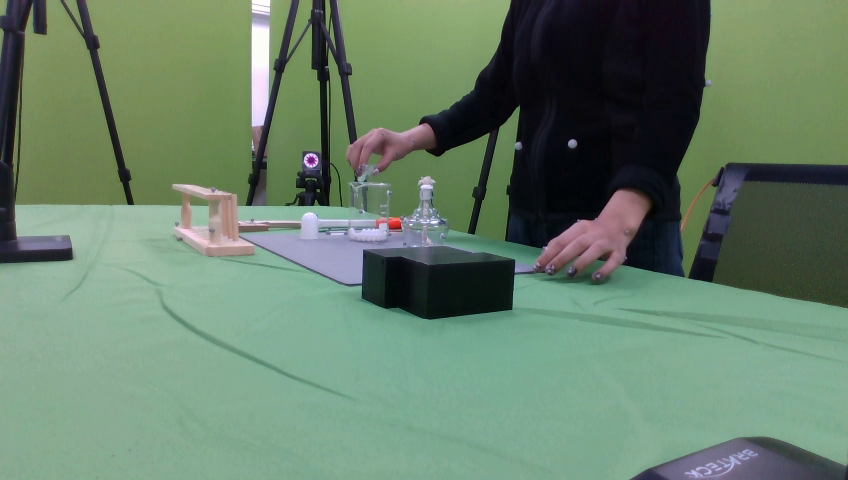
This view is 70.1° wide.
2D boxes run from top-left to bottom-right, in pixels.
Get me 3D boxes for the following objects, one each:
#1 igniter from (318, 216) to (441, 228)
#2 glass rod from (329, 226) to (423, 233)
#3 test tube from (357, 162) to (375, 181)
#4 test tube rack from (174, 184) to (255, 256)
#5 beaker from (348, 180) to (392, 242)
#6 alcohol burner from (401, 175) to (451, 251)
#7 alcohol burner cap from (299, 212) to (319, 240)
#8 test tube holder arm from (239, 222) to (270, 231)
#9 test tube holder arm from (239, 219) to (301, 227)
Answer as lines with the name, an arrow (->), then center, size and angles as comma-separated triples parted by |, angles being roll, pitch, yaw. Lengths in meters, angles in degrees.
igniter -> -0.090, -0.035, 1.223 | 0.278, 0.025, 0.057 | -2, -2, -31
glass rod -> -0.087, -0.020, 1.148 | 0.201, 0.008, 0.008 | -3, 9, -32
test tube -> -0.108, -0.124, 1.111 | 0.017, 0.017, 0.150 | 0, -1, -13
test tube rack -> -0.327, -0.036, 0.928 | 0.067, 0.085, 0.241 | -2, 9, -32
beaker -> -0.095, -0.049, 1.027 | 0.074, 0.100, 0.084 | 5, 9, 25
alcohol burner -> 0.003, -0.042, 0.947 | 0.078, 0.119, 0.078 | 1, 9, 0
alcohol burner cap -> -0.195, -0.025, 1.025 | 0.034, 0.048, 0.034 | 3, 7, 0
test tube holder arm -> -0.322, -0.024, 1.100 | 0.088, 0.015, 0.010 | -5, 44, -49
test tube holder arm -> -0.296, -0.030, 1.137 | 0.179, 0.015, 0.013 | -6, 45, -50
